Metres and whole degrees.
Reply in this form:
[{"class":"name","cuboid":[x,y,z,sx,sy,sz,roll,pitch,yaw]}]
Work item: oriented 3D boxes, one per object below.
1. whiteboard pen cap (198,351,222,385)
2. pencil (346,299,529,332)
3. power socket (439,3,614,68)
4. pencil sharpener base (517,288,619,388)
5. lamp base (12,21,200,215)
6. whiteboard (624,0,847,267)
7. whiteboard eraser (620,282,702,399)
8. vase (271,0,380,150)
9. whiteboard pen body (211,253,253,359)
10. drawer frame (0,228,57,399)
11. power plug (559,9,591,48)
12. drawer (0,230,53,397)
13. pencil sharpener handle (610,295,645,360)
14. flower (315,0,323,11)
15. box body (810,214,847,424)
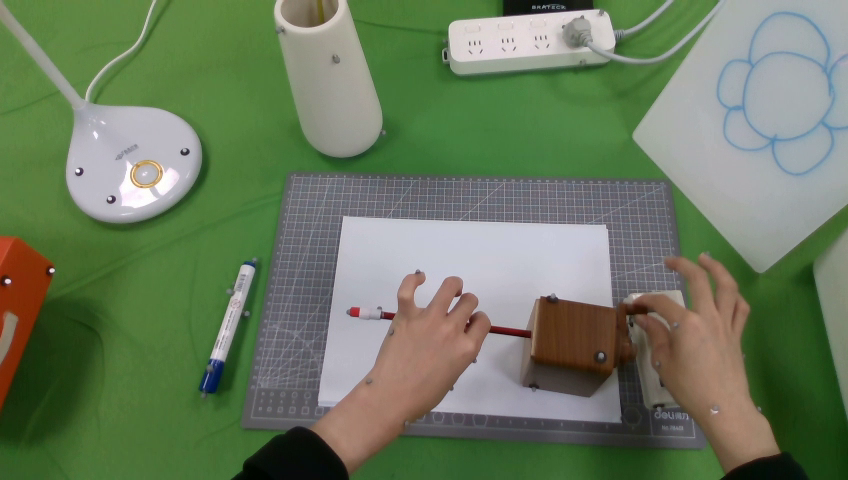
[{"class":"whiteboard pen cap","cuboid":[-0.215,0.128,0.611,0.018,0.018,0.033,6,59,6]},{"class":"pencil","cuboid":[0.026,0.070,0.550,0.194,0.012,0.012,8,65,2]},{"class":"power socket","cuboid":[0.132,-0.264,0.780,0.227,0.033,0.071,-4,65,0]},{"class":"pencil sharpener base","cuboid":[0.133,0.095,0.567,0.076,0.108,0.061,8,65,6]},{"class":"lamp base","cuboid":[-0.364,-0.141,0.662,0.178,0.182,0.160,33,70,19]},{"class":"whiteboard","cuboid":[0.390,-0.157,0.603,0.144,0.307,0.215,-20,63,-28]},{"class":"whiteboard eraser","cuboid":[0.232,0.098,0.598,0.055,0.042,0.111,-3,65,-1]},{"class":"vase","cuboid":[-0.107,-0.186,0.662,0.098,0.201,0.097,-2,64,4]},{"class":"whiteboard pen body","cuboid":[-0.205,0.077,0.639,0.017,0.017,0.139,6,62,6]},{"class":"drawer frame","cuboid":[-0.501,0.084,0.570,0.213,0.083,0.200,5,66,2]},{"class":"power plug","cuboid":[0.184,-0.251,0.746,0.035,0.053,0.072,5,66,6]},{"class":"drawer","cuboid":[-0.495,0.082,0.568,0.211,0.074,0.193,4,66,4]},{"class":"pencil sharpener handle","cuboid":[0.184,0.078,0.547,0.030,0.036,0.067,8,49,6]},{"class":"flower","cuboid":[-0.103,-0.238,0.595,0.038,0.365,0.043,-10,46,-9]},{"class":"box body","cuboid":[0.514,0.129,0.507,0.254,0.161,0.361,1,65,3]}]
